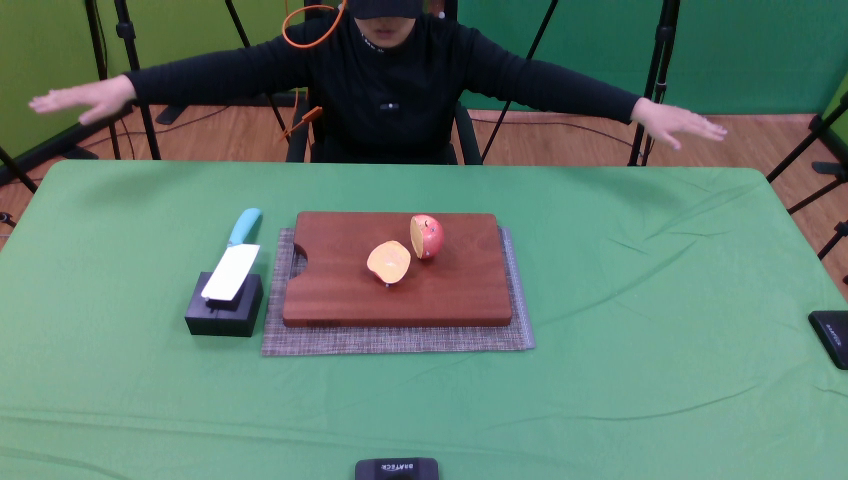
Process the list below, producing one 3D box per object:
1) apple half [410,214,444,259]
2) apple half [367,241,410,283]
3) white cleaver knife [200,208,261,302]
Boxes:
[{"bbox_3d":[0.009,-0.007,1.131,0.053,0.075,0.080,-8,43,-17],"label":"apple half"},{"bbox_3d":[-0.059,0.043,1.100,0.081,0.033,0.081,-3,67,7],"label":"apple half"},{"bbox_3d":[-0.338,0.024,1.116,0.066,0.021,0.285,6,35,-3],"label":"white cleaver knife"}]
